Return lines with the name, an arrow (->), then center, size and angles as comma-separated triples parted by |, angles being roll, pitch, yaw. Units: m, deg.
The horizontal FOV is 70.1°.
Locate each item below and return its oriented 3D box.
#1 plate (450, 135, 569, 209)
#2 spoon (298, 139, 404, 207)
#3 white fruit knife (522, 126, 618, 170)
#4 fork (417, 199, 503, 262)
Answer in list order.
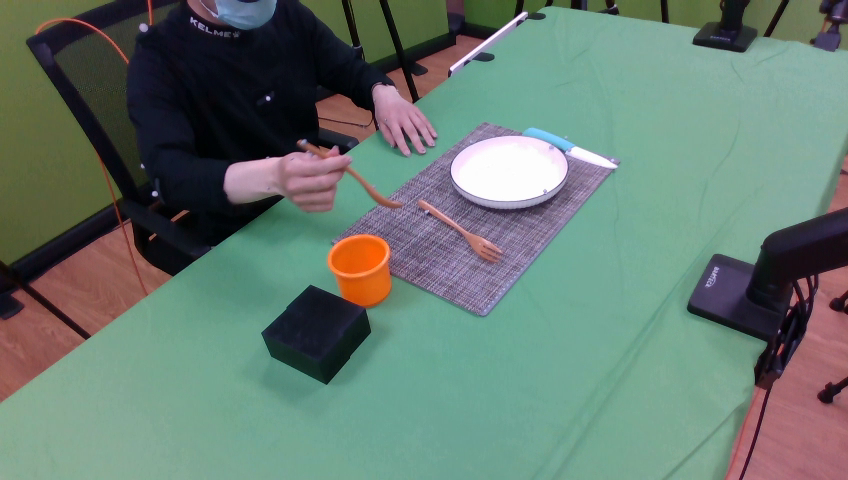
plate -> 0.149, -0.117, 1.066 | 0.209, 0.038, 0.208 | -4, 41, 4
spoon -> -0.100, -0.093, 0.857 | 0.041, 0.195, 0.021 | 21, 79, 51
white fruit knife -> 0.272, -0.172, 1.132 | 0.205, 0.016, 0.027 | 32, 82, 34
fork -> 0.053, -0.021, 0.981 | 0.019, 0.028, 0.205 | 1, 27, -41
